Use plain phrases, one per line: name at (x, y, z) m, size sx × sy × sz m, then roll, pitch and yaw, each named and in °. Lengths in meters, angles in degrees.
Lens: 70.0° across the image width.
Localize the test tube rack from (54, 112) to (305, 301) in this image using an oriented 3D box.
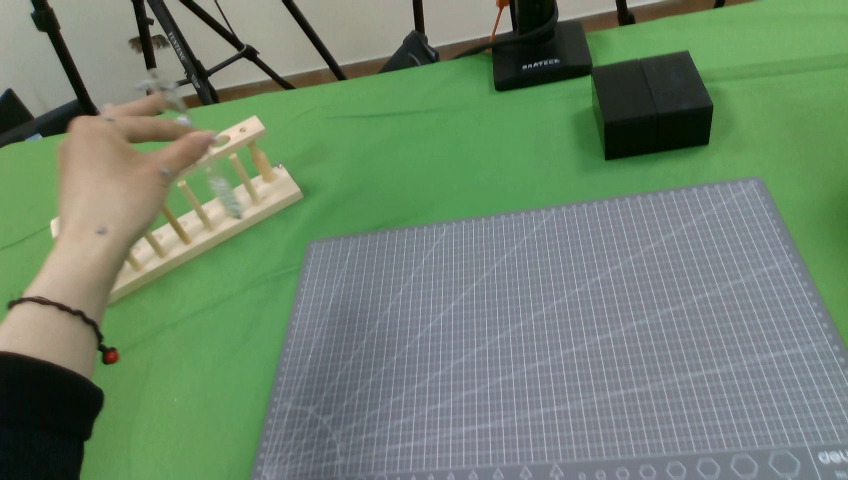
test tube rack at (-0.265, -0.039, 0.673) m, size 0.242 × 0.086 × 0.066 m, roll -31°, pitch 47°, yaw -11°

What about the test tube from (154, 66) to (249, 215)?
test tube at (-0.170, -0.071, 0.478) m, size 0.017 × 0.152 × 0.017 m, roll -4°, pitch 52°, yaw 6°
